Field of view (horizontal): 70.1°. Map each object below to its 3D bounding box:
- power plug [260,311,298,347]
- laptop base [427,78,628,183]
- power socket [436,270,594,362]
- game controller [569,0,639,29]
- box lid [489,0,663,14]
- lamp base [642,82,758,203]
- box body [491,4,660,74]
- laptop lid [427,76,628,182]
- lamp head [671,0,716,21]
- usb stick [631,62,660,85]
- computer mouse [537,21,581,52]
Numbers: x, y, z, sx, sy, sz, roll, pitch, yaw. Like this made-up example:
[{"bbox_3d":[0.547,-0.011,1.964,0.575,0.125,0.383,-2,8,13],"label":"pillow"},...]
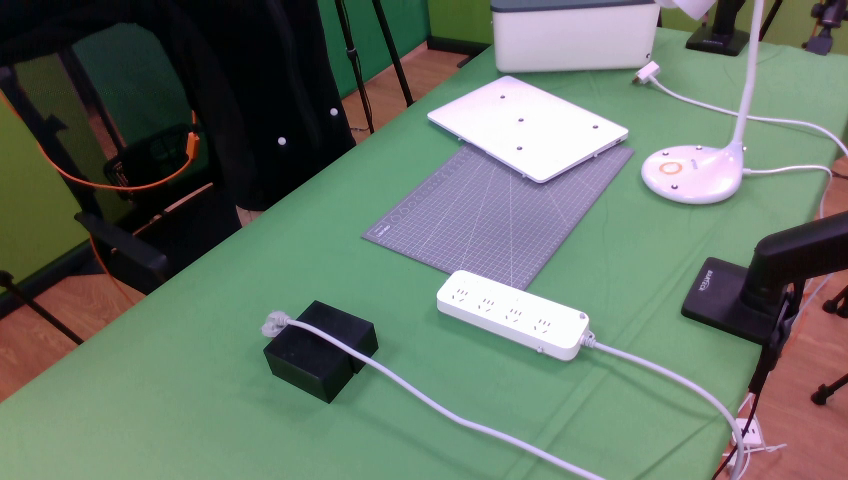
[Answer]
[{"bbox_3d":[-0.197,0.127,0.822,0.035,0.053,0.072,-17,23,-30],"label":"power plug"},{"bbox_3d":[0.199,-0.228,1.222,0.236,0.023,0.351,-31,45,-22],"label":"laptop base"},{"bbox_3d":[0.118,0.101,0.832,0.225,0.033,0.072,19,48,27],"label":"power socket"},{"bbox_3d":[0.429,-0.561,1.419,0.155,0.052,0.097,-17,79,1],"label":"game controller"},{"bbox_3d":[0.340,-0.575,1.380,0.371,0.015,0.262,0,41,9],"label":"box lid"},{"bbox_3d":[0.464,-0.174,0.992,0.179,0.181,0.159,-5,41,-2],"label":"lamp base"},{"bbox_3d":[0.346,-0.520,1.429,0.363,0.161,0.253,0,41,9],"label":"box body"},{"bbox_3d":[0.196,-0.237,1.213,0.242,0.013,0.353,-29,44,-21],"label":"laptop lid"},{"bbox_3d":[0.375,-0.373,0.807,0.122,0.113,0.112,-40,27,32],"label":"lamp head"},{"bbox_3d":[0.480,-0.358,1.317,0.059,0.022,0.027,-35,56,14],"label":"usb stick"},{"bbox_3d":[0.335,-0.503,1.487,0.118,0.041,0.062,22,18,-28],"label":"computer mouse"}]
